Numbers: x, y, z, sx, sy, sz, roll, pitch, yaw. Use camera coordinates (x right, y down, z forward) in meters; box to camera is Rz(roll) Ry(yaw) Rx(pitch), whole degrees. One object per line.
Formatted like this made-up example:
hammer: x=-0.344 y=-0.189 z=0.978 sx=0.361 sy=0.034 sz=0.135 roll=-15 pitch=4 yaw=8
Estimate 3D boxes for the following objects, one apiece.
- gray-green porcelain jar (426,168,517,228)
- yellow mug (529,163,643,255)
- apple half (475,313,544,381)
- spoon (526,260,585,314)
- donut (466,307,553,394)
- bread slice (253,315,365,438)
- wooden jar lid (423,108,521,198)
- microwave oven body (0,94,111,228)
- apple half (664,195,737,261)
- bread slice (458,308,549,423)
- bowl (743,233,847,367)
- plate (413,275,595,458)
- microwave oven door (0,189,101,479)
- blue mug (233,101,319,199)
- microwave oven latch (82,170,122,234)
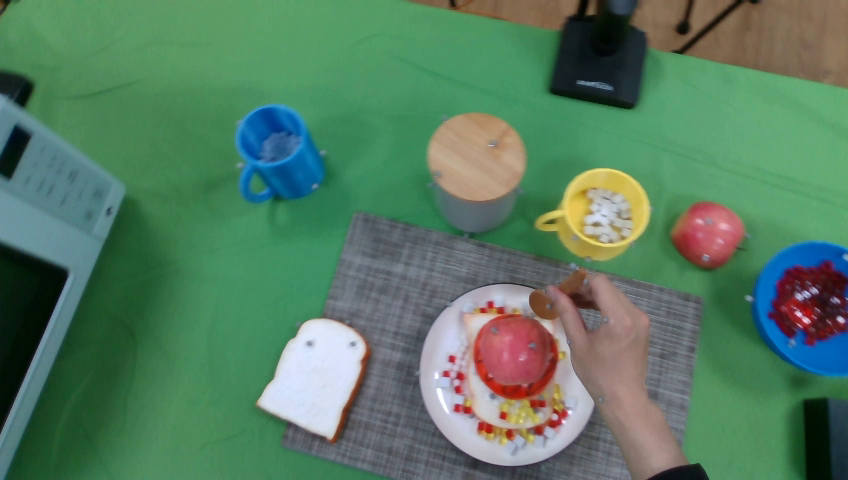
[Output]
gray-green porcelain jar: x=0.057 y=-0.077 z=0.733 sx=0.106 sy=0.127 sz=0.105 roll=0 pitch=74 yaw=2
yellow mug: x=0.195 y=-0.035 z=0.748 sx=0.131 sy=0.064 sz=0.099 roll=-8 pitch=74 yaw=1
apple half: x=0.093 y=0.113 z=0.654 sx=0.081 sy=0.033 sz=0.080 roll=-2 pitch=69 yaw=6
spoon: x=0.135 y=0.051 z=0.625 sx=0.021 sy=0.194 sz=0.041 roll=-44 pitch=80 yaw=-9
donut: x=0.096 y=0.125 z=0.688 sx=0.099 sy=0.048 sz=0.098 roll=-1 pitch=74 yaw=3
bread slice: x=-0.134 y=0.156 z=0.728 sx=0.104 sy=0.019 sz=0.131 roll=21 pitch=77 yaw=7
wooden jar lid: x=0.053 y=-0.095 z=0.672 sx=0.108 sy=0.021 sz=0.107 roll=0 pitch=73 yaw=-1
microwave oven body: x=-0.607 y=0.053 z=0.646 sx=0.325 sy=0.261 sz=0.440 roll=14 pitch=76 yaw=6
apple half: x=0.344 y=-0.020 z=0.746 sx=0.074 sy=0.053 sz=0.080 roll=36 pitch=79 yaw=13
bread slice: x=0.098 y=0.145 z=0.712 sx=0.107 sy=0.018 sz=0.133 roll=-4 pitch=76 yaw=1
bowl: x=0.436 y=0.075 z=0.702 sx=0.151 sy=0.077 sz=0.150 roll=-1 pitch=74 yaw=2
plate: x=0.092 y=0.146 z=0.712 sx=0.207 sy=0.039 sz=0.206 roll=0 pitch=75 yaw=2
microwave oven door: x=-0.477 y=0.126 z=0.616 sx=0.039 sy=0.245 sz=0.354 roll=14 pitch=75 yaw=7
blue mug: x=-0.193 y=-0.100 z=0.759 sx=0.082 sy=0.106 sz=0.116 roll=34 pitch=78 yaw=11
microwave oven latch: x=-0.414 y=-0.050 z=0.768 sx=0.030 sy=0.029 sz=0.079 roll=18 pitch=76 yaw=7
